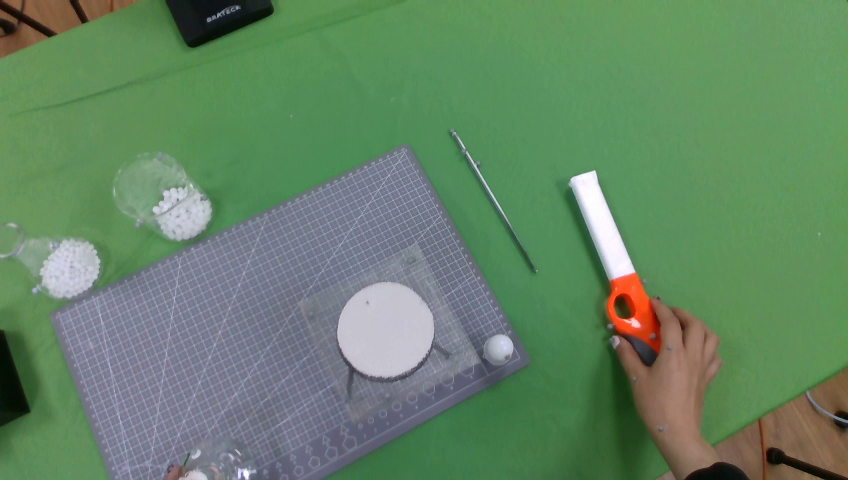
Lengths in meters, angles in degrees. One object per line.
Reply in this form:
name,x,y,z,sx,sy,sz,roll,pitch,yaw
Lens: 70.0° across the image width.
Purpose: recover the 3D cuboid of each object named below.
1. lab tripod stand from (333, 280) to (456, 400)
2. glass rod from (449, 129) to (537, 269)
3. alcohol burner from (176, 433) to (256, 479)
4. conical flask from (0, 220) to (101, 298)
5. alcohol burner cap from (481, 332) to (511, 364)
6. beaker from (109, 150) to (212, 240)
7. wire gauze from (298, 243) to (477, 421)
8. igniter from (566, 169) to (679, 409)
lab tripod stand,-0.038,0.101,0.605,0.148,0.132,0.147,0,76,-1
glass rod,0.080,-0.051,0.714,0.008,0.008,0.198,-28,76,-8
alcohol burner,-0.204,0.227,0.580,0.078,0.119,0.077,0,76,-1
conical flask,-0.402,0.014,0.634,0.075,0.122,0.075,0,74,-1
alcohol burner cap,0.079,0.114,0.650,0.034,0.048,0.033,0,74,0
beaker,-0.279,-0.044,0.664,0.084,0.101,0.073,8,75,1
wire gauze,-0.034,0.080,0.541,0.125,0.011,0.121,-26,77,-6
igniter,0.222,0.049,0.680,0.057,0.025,0.275,-16,76,-5
